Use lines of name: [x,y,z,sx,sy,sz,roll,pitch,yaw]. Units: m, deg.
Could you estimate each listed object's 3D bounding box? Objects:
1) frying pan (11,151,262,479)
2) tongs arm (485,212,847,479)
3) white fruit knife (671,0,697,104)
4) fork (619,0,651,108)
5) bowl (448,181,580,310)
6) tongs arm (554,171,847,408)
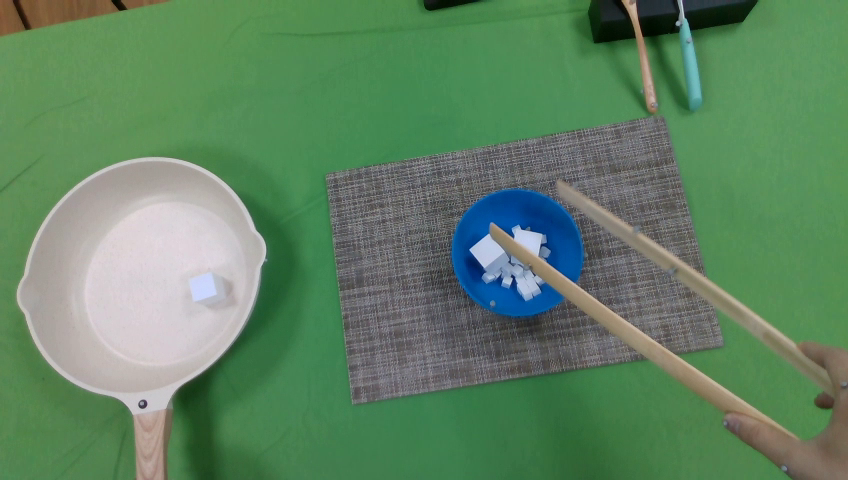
frying pan: [-0.325,0.132,0.713,0.307,0.103,0.484,-10,69,2]
tongs arm: [0.181,0.069,0.522,0.028,0.028,0.383,-31,45,-22]
white fruit knife: [0.323,-0.278,0.770,0.016,0.027,0.207,-11,94,7]
fork: [0.264,-0.272,0.774,0.028,0.018,0.208,-16,97,-4]
bowl: [0.104,0.013,0.721,0.151,0.077,0.150,-1,77,3]
tongs arm: [0.226,0.042,0.536,0.051,0.027,0.380,-30,45,-16]
